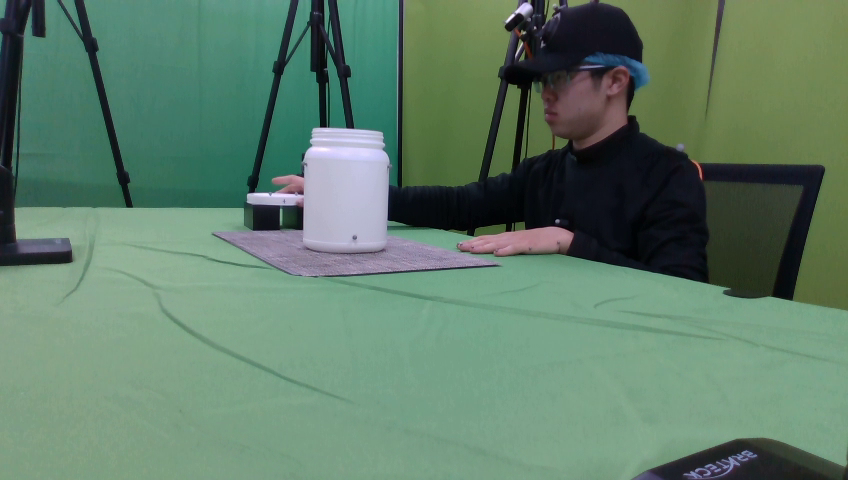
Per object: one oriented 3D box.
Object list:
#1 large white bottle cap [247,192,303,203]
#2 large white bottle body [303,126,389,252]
[{"bbox_3d":[-0.297,-0.085,1.215,0.115,0.018,0.115,2,7,0],"label":"large white bottle cap"},{"bbox_3d":[-0.120,-0.079,0.936,0.131,0.184,0.130,2,7,0],"label":"large white bottle body"}]
